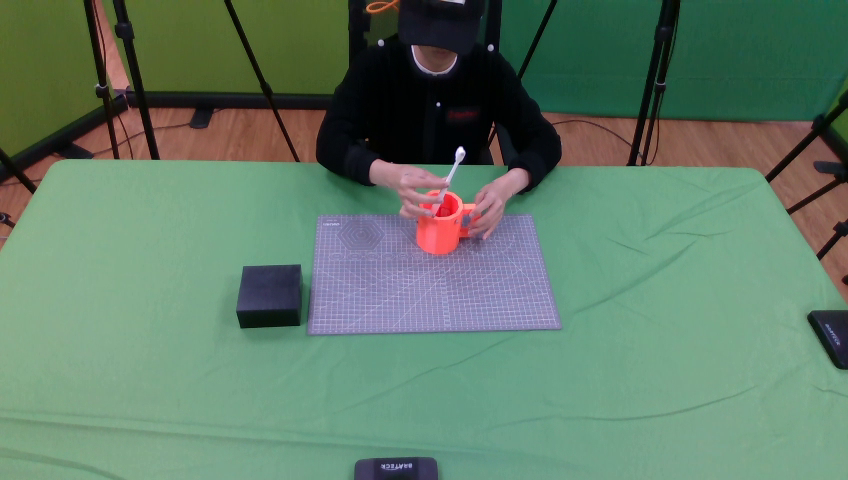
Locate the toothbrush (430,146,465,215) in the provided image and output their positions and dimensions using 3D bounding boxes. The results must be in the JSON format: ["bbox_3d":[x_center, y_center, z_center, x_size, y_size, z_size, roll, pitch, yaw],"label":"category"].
[{"bbox_3d":[0.039,-0.099,1.107,0.014,0.182,0.016,-3,51,-26],"label":"toothbrush"}]

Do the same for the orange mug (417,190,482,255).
[{"bbox_3d":[0.049,-0.037,1.176,0.126,0.101,0.083,-7,46,-4],"label":"orange mug"}]
